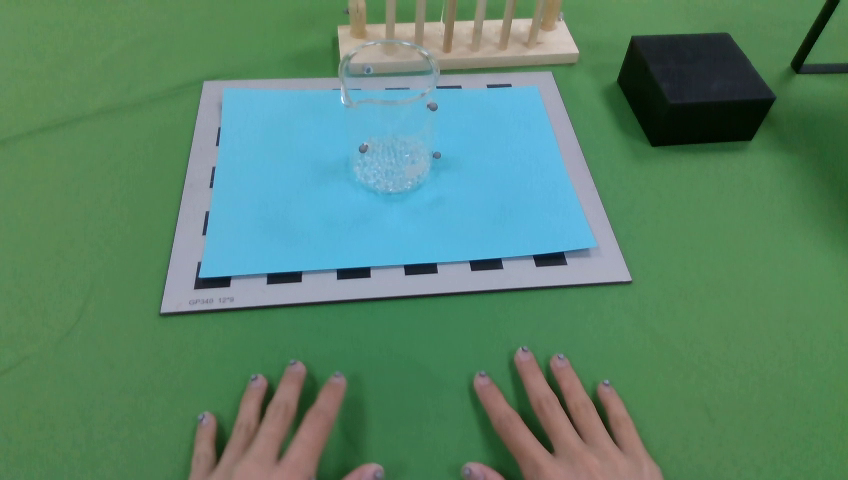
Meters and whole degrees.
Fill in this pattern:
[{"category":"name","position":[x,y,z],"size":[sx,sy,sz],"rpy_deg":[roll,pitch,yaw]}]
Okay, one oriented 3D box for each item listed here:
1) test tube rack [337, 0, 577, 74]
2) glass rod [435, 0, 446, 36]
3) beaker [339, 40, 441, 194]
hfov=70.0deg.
[{"category":"test tube rack","position":[0.035,-0.225,0.603],"size":[0.243,0.086,0.066],"rpy_deg":[-4,52,-7]},{"category":"glass rod","position":[0.029,-0.275,0.557],"size":[0.008,0.201,0.008],"rpy_deg":[5,53,-7]},{"category":"beaker","position":[-0.029,-0.091,0.478],"size":[0.073,0.101,0.084],"rpy_deg":[35,58,23]}]
